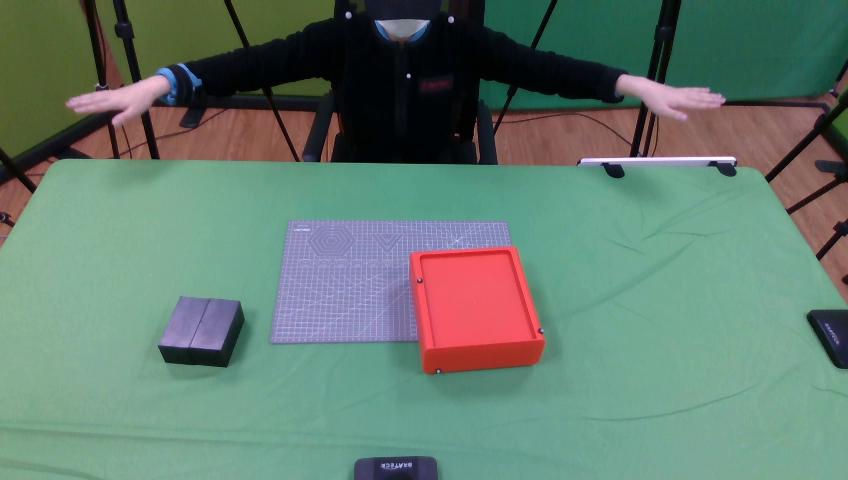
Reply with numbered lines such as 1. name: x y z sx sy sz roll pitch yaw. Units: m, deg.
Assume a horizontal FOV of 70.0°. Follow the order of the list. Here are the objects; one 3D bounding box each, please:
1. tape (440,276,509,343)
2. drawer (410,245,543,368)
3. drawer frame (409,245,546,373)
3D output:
1. tape: 0.086 0.119 1.053 0.117 0.053 0.116 2 46 -2
2. drawer: 0.083 0.111 1.051 0.195 0.073 0.210 -3 47 -8
3. drawer frame: 0.084 0.113 1.049 0.202 0.083 0.212 -4 47 -8
